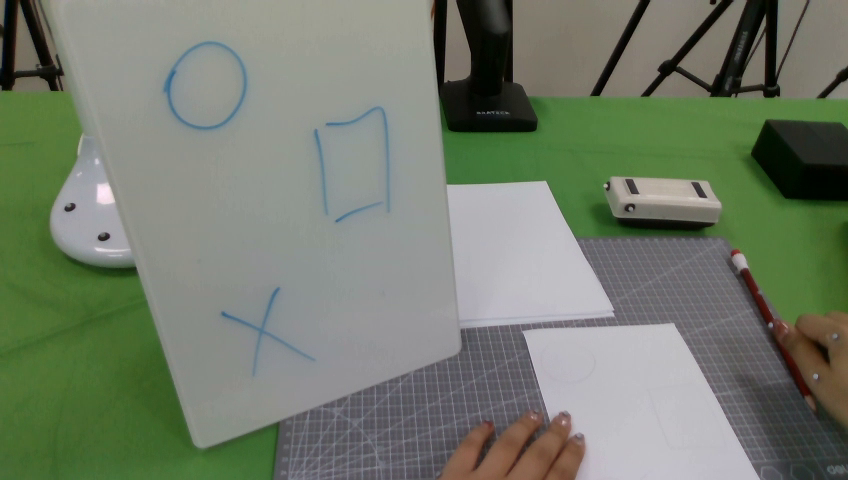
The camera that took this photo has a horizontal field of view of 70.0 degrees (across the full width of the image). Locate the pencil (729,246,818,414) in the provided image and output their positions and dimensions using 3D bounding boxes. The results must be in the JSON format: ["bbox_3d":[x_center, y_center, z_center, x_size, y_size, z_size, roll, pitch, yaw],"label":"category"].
[{"bbox_3d":[0.317,0.074,0.555,0.012,0.012,0.192,3,43,-1],"label":"pencil"}]

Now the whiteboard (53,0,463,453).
[{"bbox_3d":[-0.107,-0.037,0.465,0.218,0.307,0.142,-16,25,-21],"label":"whiteboard"}]

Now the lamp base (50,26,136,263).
[{"bbox_3d":[-0.292,-0.096,0.566,0.178,0.182,0.160,26,45,27],"label":"lamp base"}]

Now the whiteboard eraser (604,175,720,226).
[{"bbox_3d":[0.259,-0.043,0.665,0.113,0.042,0.055,3,41,-2],"label":"whiteboard eraser"}]
